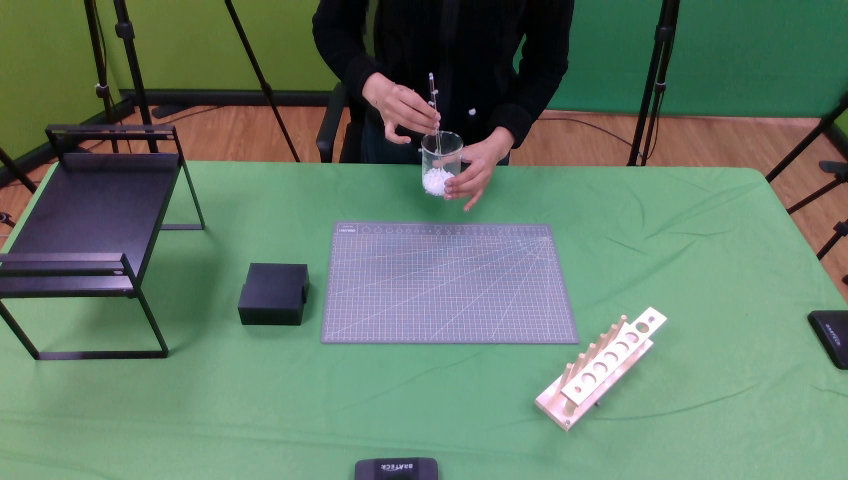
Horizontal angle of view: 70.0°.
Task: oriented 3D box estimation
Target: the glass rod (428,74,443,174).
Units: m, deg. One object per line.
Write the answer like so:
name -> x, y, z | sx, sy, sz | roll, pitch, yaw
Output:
glass rod -> 0.021, -0.195, 1.046 | 0.008, 0.201, 0.008 | -5, 43, 4

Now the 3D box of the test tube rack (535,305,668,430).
test tube rack -> 0.290, 0.193, 0.984 | 0.242, 0.085, 0.066 | -32, 56, -30

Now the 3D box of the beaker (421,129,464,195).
beaker -> 0.031, -0.139, 1.089 | 0.074, 0.101, 0.083 | 1, 45, 0
